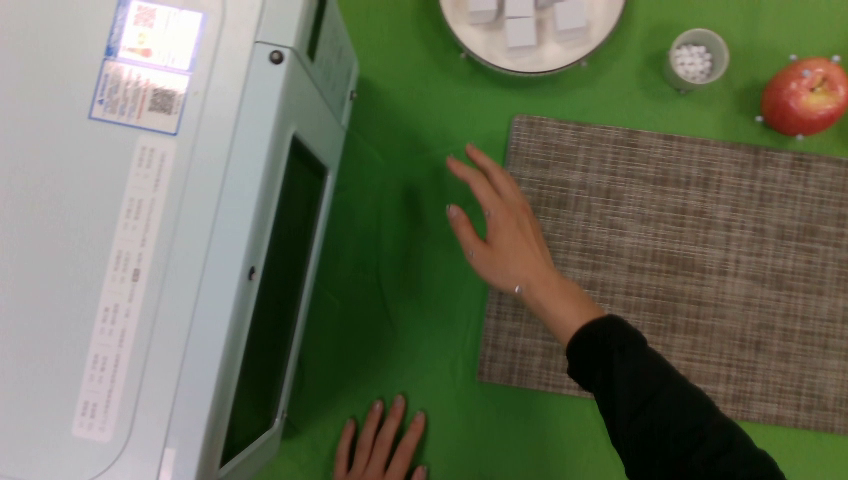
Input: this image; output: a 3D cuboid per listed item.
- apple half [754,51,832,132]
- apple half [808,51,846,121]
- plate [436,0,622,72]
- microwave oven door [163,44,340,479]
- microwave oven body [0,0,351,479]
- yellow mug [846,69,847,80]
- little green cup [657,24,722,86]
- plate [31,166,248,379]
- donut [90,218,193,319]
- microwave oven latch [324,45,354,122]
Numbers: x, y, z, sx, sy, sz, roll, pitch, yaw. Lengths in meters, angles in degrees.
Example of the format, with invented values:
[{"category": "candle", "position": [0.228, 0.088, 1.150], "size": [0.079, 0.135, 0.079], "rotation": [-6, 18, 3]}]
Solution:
[{"category": "apple half", "position": [0.383, -0.152, 0.645], "size": [0.053, 0.074, 0.081], "rotation": [-18, 90, 5]}, {"category": "apple half", "position": [0.421, -0.165, 0.643], "size": [0.033, 0.081, 0.081], "rotation": [-19, 86, 5]}, {"category": "plate", "position": [0.114, -0.285, 0.673], "size": [0.207, 0.039, 0.207], "rotation": [0, 87, 1]}, {"category": "microwave oven door", "position": [-0.144, 0.038, 0.543], "size": [0.039, 0.244, 0.355], "rotation": [11, 87, 2]}, {"category": "microwave oven body", "position": [-0.278, -0.031, 0.555], "size": [0.326, 0.260, 0.441], "rotation": [11, 88, 1]}, {"category": "yellow mug", "position": [0.520, -0.164, 0.645], "size": [0.131, 0.064, 0.100], "rotation": [19, 87, 3]}, {"category": "little green cup", "position": [0.289, -0.200, 0.666], "size": [0.061, 0.038, 0.061], "rotation": [0, 87, 2]}, {"category": "plate", "position": [-0.277, 0.032, 0.604], "size": [0.209, 0.038, 0.209], "rotation": [0, 88, 1]}, {"category": "donut", "position": [-0.274, 0.028, 0.590], "size": [0.099, 0.048, 0.099], "rotation": [0, 89, 3]}, {"category": "microwave oven latch", "position": [-0.095, -0.170, 0.654], "size": [0.030, 0.029, 0.079], "rotation": [12, 88, 1]}]
